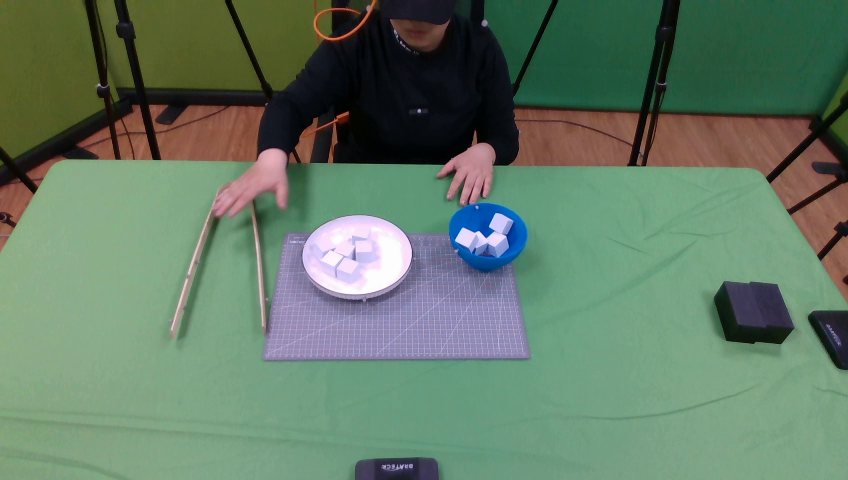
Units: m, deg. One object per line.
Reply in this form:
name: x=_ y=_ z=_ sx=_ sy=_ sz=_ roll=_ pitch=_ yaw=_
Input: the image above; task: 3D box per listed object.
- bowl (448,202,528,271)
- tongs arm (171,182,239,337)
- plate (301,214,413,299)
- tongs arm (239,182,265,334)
bowl: x=0.118 y=0.006 z=1.160 sx=0.151 sy=0.077 sz=0.150 roll=2 pitch=46 yaw=-2
tongs arm: x=-0.403 y=0.021 z=1.138 sx=0.051 sy=0.026 sz=0.382 roll=1 pitch=45 yaw=-5
plate: x=-0.124 y=0.033 z=1.143 sx=0.208 sy=0.039 sz=0.206 roll=2 pitch=46 yaw=-2
tongs arm: x=-0.325 y=0.019 z=1.151 sx=0.028 sy=0.028 sz=0.384 roll=-11 pitch=48 yaw=-11
